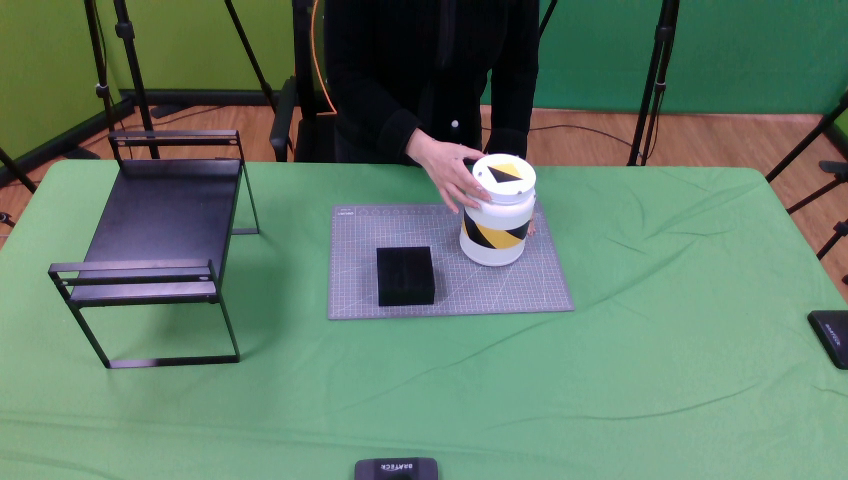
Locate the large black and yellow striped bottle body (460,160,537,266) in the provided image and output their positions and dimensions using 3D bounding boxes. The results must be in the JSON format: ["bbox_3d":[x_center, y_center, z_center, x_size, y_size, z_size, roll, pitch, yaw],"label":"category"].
[{"bbox_3d":[0.140,-0.055,1.143,0.131,0.185,0.130,2,46,-2],"label":"large black and yellow striped bottle body"}]

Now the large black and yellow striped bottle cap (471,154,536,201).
[{"bbox_3d":[0.143,-0.114,1.082,0.115,0.019,0.114,3,45,-3],"label":"large black and yellow striped bottle cap"}]
